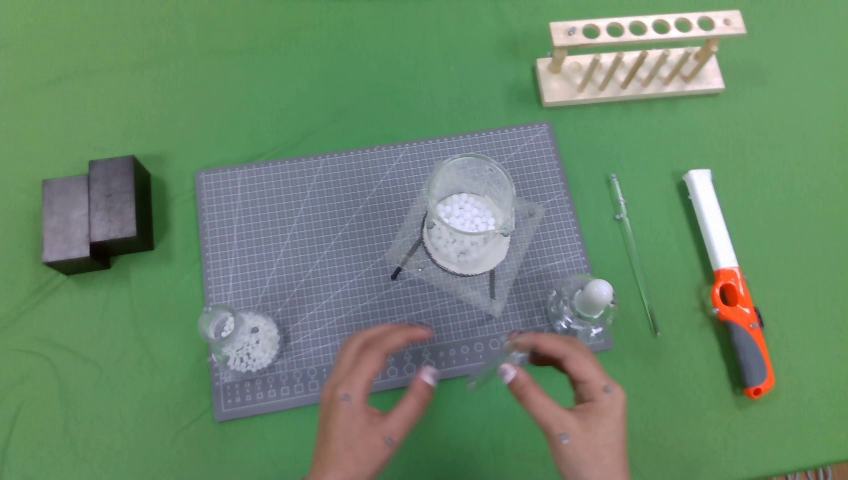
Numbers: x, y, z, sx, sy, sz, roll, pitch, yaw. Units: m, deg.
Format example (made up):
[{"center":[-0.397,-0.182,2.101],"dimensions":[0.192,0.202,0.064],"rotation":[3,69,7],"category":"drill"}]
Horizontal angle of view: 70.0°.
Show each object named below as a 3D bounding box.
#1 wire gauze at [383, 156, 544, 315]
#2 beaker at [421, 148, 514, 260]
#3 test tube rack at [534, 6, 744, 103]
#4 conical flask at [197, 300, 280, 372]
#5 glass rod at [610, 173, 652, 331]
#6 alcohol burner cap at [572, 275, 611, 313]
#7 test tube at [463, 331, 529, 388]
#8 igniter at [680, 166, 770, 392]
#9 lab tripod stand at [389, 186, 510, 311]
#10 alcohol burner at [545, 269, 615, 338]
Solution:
[{"center":[0.039,-0.008,0.591],"dimensions":[0.125,0.011,0.121],"rotation":[27,76,4],"category":"wire gauze"},{"center":[0.038,-0.025,0.546],"dimensions":[0.083,0.101,0.074],"rotation":[40,75,9],"category":"beaker"},{"center":[0.271,-0.234,0.772],"dimensions":[0.242,0.085,0.066],"rotation":[-6,72,-4],"category":"test tube rack"},{"center":[-0.195,0.093,0.622],"dimensions":[0.075,0.122,0.075],"rotation":[1,72,-3],"category":"conical flask"},{"center":[0.250,0.012,0.734],"dimensions":[0.008,0.008,0.198],"rotation":[-7,76,-6],"category":"glass rod"},{"center":[0.174,0.052,0.621],"dimensions":[0.034,0.048,0.033],"rotation":[2,65,-4],"category":"alcohol burner cap"},{"center":[0.056,0.102,0.502],"dimensions":[0.017,0.151,0.017],"rotation":[4,65,-9],"category":"test tube"},{"center":[0.357,0.040,0.721],"dimensions":[0.057,0.025,0.274],"rotation":[-4,73,-15],"category":"igniter"},{"center":[0.034,0.010,0.654],"dimensions":[0.148,0.132,0.147],"rotation":[1,74,-2],"category":"lab tripod stand"},{"center":[0.172,0.065,0.655],"dimensions":[0.078,0.120,0.077],"rotation":[0,72,0],"category":"alcohol burner"}]
